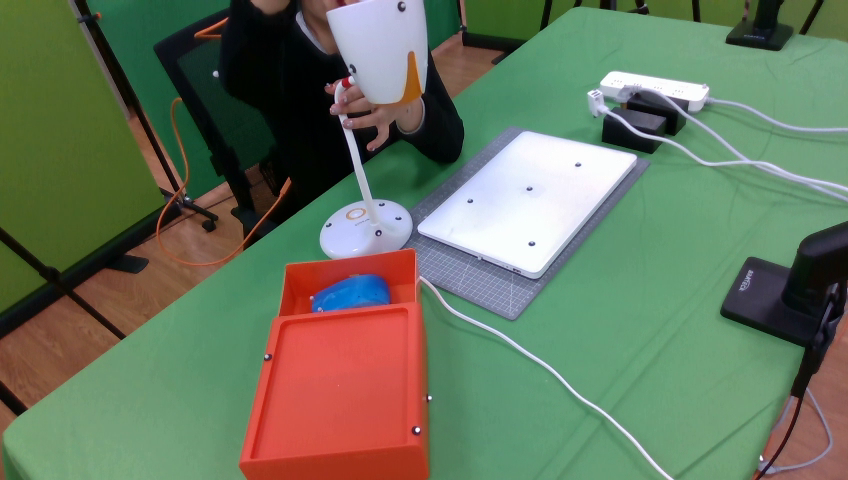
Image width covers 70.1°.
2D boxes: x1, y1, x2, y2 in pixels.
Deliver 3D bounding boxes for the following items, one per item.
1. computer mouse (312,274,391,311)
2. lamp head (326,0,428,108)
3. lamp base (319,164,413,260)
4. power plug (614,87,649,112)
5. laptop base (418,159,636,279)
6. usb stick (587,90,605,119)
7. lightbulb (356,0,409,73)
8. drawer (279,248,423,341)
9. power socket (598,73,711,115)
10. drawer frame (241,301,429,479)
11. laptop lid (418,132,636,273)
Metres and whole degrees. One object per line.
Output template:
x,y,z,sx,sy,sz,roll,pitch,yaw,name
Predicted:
-0.107,0.086,0.885,0.117,0.041,0.062,-14,40,0,computer mouse
-0.047,-0.217,0.708,0.112,0.123,0.112,-9,25,4,lamp head
-0.102,-0.068,0.962,0.161,0.181,0.177,-30,46,-21,lamp base
0.406,-0.275,1.193,0.035,0.053,0.072,-15,24,-15,power plug
0.185,-0.074,1.042,0.233,0.023,0.355,19,48,35,laptop base
0.334,-0.258,1.170,0.021,0.059,0.027,-28,44,-6,usb stick
-0.044,-0.248,0.695,0.059,0.108,0.059,-7,19,3,lightbulb
-0.100,0.114,0.828,0.194,0.073,0.210,-7,40,2,drawer
0.469,-0.304,1.249,0.225,0.033,0.072,20,49,30,power socket
-0.096,0.183,0.741,0.202,0.083,0.212,-6,40,3,drawer frame
0.181,-0.084,1.036,0.239,0.013,0.358,22,49,35,laptop lid
